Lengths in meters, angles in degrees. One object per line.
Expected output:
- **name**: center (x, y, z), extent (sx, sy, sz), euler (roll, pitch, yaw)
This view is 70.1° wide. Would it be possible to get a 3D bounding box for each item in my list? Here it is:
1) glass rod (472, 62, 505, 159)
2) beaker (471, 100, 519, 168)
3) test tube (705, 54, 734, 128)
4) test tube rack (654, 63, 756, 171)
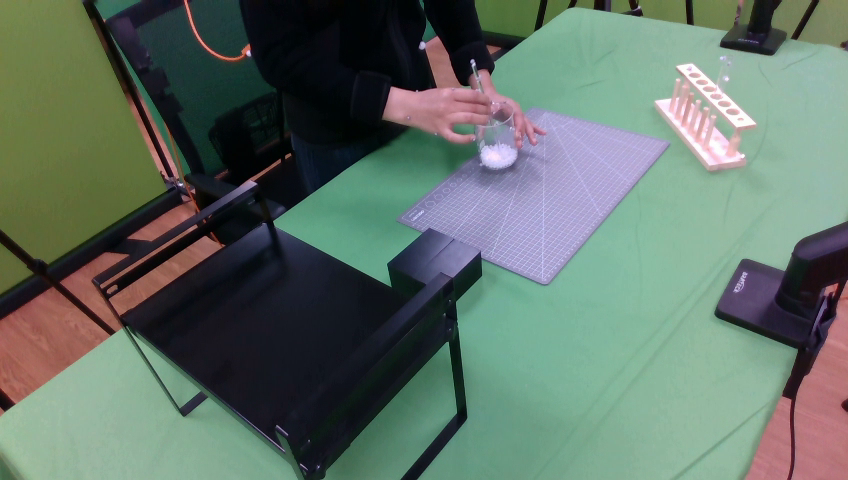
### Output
- **glass rod**: center (0.109, -0.212, 1.013), extent (0.008, 0.201, 0.008), euler (-13, 45, 14)
- **beaker**: center (0.130, -0.187, 1.073), extent (0.073, 0.101, 0.084), euler (6, 49, 22)
- **test tube**: center (0.523, -0.260, 1.073), extent (0.017, 0.151, 0.017), euler (-4, 46, 4)
- **test tube rack**: center (0.510, -0.233, 1.120), extent (0.067, 0.085, 0.241), euler (-8, 41, -1)
